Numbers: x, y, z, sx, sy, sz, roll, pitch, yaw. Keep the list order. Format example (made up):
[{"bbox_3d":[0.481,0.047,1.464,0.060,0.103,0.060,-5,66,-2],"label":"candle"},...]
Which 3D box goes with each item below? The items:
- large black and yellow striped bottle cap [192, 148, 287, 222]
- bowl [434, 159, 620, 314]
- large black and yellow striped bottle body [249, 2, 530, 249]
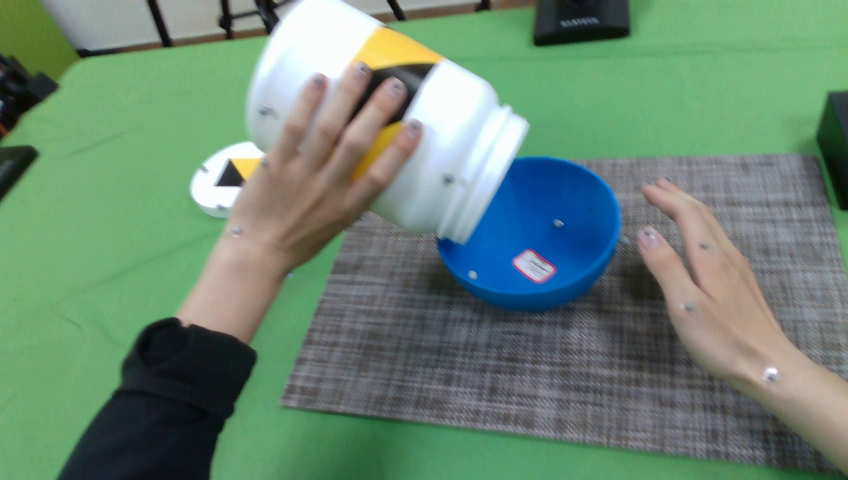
[{"bbox_3d":[-0.224,-0.069,0.734,0.115,0.019,0.114,-8,48,9],"label":"large black and yellow striped bottle cap"},{"bbox_3d":[0.089,0.010,0.519,0.151,0.077,0.150,-9,48,10],"label":"bowl"},{"bbox_3d":[-0.024,-0.083,0.471,0.184,0.131,0.130,29,59,1],"label":"large black and yellow striped bottle body"}]
